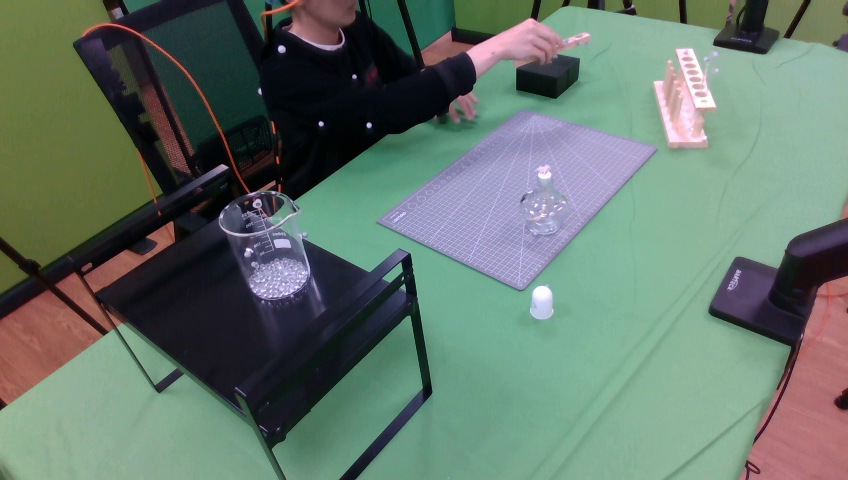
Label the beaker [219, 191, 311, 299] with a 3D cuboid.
[{"bbox_3d":[-0.164,0.008,0.654,0.084,0.101,0.073,-10,41,-3],"label":"beaker"}]

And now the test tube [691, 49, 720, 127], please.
[{"bbox_3d":[0.505,-0.270,1.087,0.017,0.151,0.017,-2,41,2],"label":"test tube"}]

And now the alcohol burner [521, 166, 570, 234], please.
[{"bbox_3d":[0.192,-0.068,0.951,0.078,0.119,0.077,-4,42,4],"label":"alcohol burner"}]

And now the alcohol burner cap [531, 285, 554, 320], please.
[{"bbox_3d":[0.164,0.084,0.838,0.034,0.048,0.033,-4,40,4],"label":"alcohol burner cap"}]

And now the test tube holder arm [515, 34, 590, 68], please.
[{"bbox_3d":[0.254,-0.372,1.188,0.179,0.015,0.013,-26,38,-20],"label":"test tube holder arm"}]

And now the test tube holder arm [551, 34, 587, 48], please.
[{"bbox_3d":[0.290,-0.393,1.207,0.088,0.015,0.010,-25,38,-19],"label":"test tube holder arm"}]

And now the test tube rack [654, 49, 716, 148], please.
[{"bbox_3d":[0.502,-0.280,1.176,0.066,0.085,0.241,2,41,11],"label":"test tube rack"}]
